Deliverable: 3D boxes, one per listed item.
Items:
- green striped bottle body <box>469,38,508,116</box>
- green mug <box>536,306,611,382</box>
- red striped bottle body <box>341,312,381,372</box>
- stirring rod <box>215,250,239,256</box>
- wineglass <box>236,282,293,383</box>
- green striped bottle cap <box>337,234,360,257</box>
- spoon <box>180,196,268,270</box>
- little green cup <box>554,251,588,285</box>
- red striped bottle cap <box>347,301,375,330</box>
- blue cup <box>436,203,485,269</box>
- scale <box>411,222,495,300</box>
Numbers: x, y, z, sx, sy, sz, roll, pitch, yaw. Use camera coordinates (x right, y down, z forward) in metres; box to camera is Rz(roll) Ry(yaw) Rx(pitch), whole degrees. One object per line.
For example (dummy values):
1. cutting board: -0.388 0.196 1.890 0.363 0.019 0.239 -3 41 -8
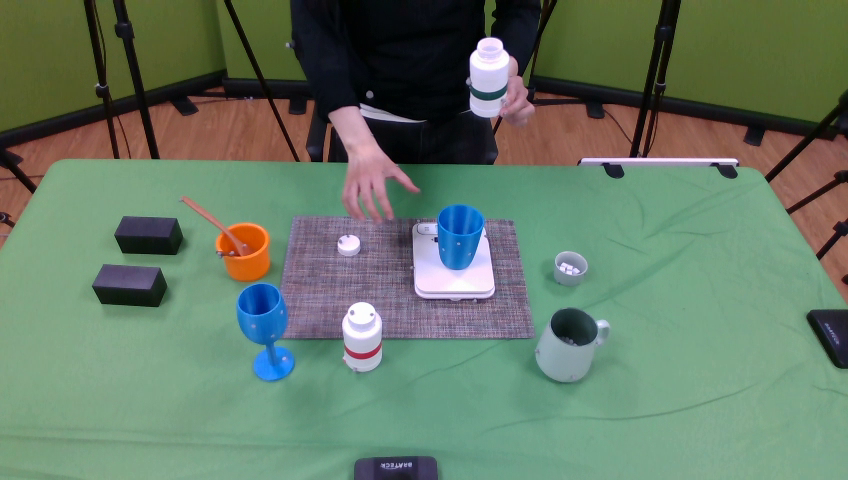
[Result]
1. green striped bottle body: 0.104 -0.266 0.984 0.063 0.120 0.063 -2 52 3
2. green mug: 0.250 0.167 0.996 0.125 0.105 0.092 -15 48 -18
3. red striped bottle body: -0.100 0.154 0.972 0.063 0.120 0.062 2 45 -2
4. stirring rod: -0.339 0.024 1.059 0.014 0.176 0.006 17 86 -6
5. wineglass: -0.243 0.143 0.934 0.074 0.173 0.073 2 46 -2
6. green striped bottle cap: -0.147 0.011 1.175 0.044 0.020 0.044 4 49 -4
7. spoon: -0.360 -0.014 1.094 0.021 0.194 0.041 -28 26 31
8. little green cup: 0.277 0.055 1.151 0.061 0.039 0.061 1 46 -1
9. red striped bottle cap: -0.097 0.116 0.934 0.044 0.018 0.044 3 49 -3
10. blue cup: 0.061 -0.001 1.098 0.093 0.101 0.092 2 44 -2
11. scale: 0.052 0.031 1.158 0.149 0.032 0.199 1 46 -4
